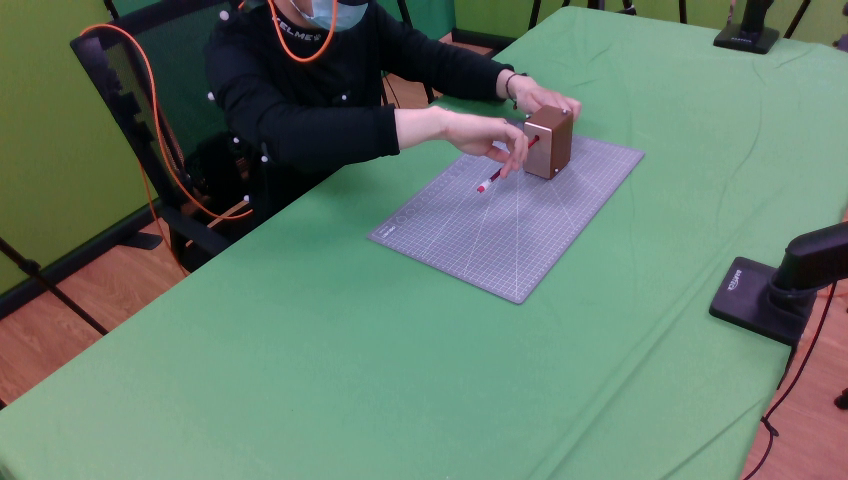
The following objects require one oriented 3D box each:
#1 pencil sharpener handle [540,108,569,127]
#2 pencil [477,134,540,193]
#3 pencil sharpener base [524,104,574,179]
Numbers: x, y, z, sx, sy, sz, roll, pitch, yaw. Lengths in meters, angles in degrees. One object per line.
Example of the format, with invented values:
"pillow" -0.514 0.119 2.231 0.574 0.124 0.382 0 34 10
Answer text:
"pencil sharpener handle" 0.241 -0.223 1.093 0.031 0.036 0.067 -41 19 -33
"pencil" 0.147 -0.134 0.996 0.012 0.012 0.194 26 53 32
"pencil sharpener base" 0.221 -0.176 1.071 0.061 0.107 0.077 25 50 32
